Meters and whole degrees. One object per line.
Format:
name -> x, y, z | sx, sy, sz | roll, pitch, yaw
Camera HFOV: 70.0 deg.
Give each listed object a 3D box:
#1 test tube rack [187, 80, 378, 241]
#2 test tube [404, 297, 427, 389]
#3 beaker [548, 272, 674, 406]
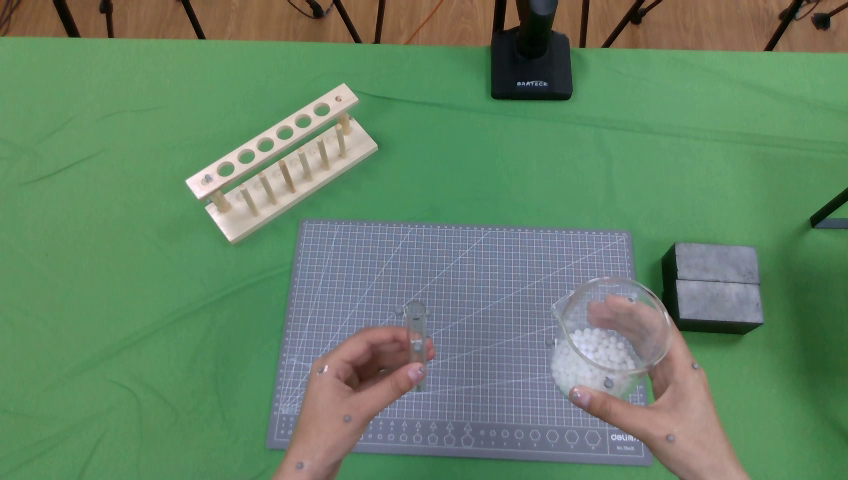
test tube rack -> -0.182, -0.107, 0.814 | 0.242, 0.086, 0.066 | -36, 70, -14
test tube -> -0.006, 0.088, 0.488 | 0.017, 0.151, 0.017 | 0, 56, 0
beaker -> 0.133, 0.080, 0.462 | 0.084, 0.101, 0.073 | 15, 61, 11
